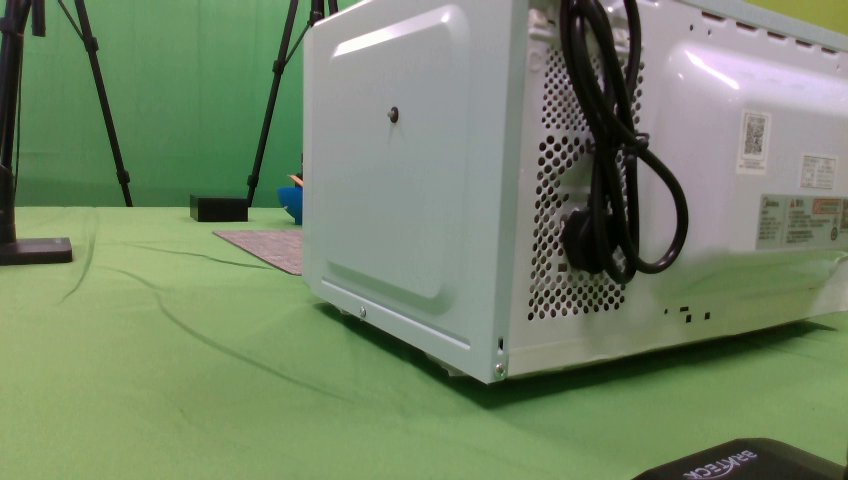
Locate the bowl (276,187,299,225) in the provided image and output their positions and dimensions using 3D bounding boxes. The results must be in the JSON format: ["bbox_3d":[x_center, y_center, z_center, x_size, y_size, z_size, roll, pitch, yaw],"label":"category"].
[{"bbox_3d":[-0.241,-0.073,1.302,0.151,0.077,0.151,2,7,0],"label":"bowl"}]

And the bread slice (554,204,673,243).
[{"bbox_3d":[0.184,-0.017,0.580,0.107,0.018,0.134,-4,9,9],"label":"bread slice"}]

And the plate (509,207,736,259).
[{"bbox_3d":[0.186,-0.009,0.588,0.208,0.039,0.207,1,5,0],"label":"plate"}]

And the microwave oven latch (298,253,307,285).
[{"bbox_3d":[-0.082,0.027,0.582,0.079,0.029,0.030,-1,7,-33],"label":"microwave oven latch"}]

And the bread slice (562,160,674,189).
[{"bbox_3d":[0.186,-0.063,0.578,0.104,0.019,0.132,7,6,15],"label":"bread slice"}]

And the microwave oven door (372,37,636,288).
[{"bbox_3d":[0.110,-0.080,0.686,0.358,0.243,0.039,-2,9,-33],"label":"microwave oven door"}]

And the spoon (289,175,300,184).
[{"bbox_3d":[-0.260,-0.110,1.343,0.042,0.021,0.192,-7,33,-30],"label":"spoon"}]

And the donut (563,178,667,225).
[{"bbox_3d":[0.185,-0.037,0.587,0.099,0.048,0.099,-2,3,0],"label":"donut"}]

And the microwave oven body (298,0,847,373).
[{"bbox_3d":[0.151,-0.055,0.542,0.444,0.260,0.324,-1,7,-33],"label":"microwave oven body"}]
